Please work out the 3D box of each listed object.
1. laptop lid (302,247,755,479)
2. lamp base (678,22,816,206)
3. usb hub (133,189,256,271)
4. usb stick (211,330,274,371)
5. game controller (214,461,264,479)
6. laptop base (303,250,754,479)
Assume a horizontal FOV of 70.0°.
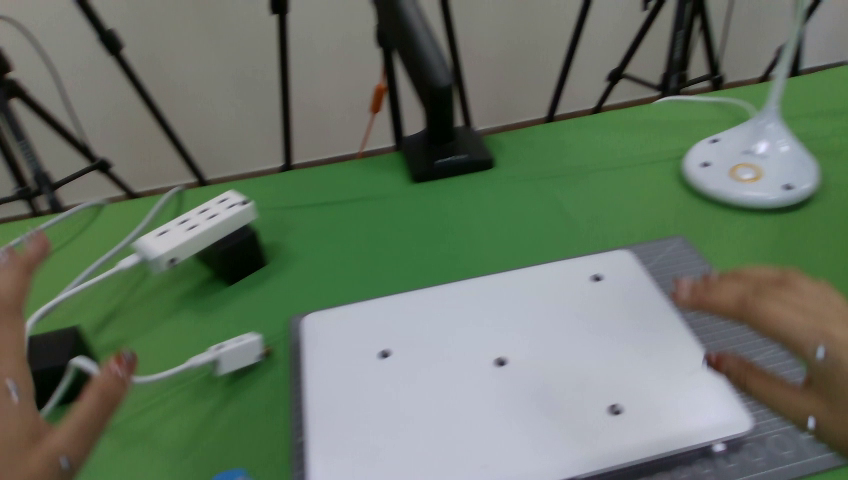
[{"bbox_3d":[0.071,0.110,0.543,0.357,0.013,0.239,-10,40,-5],"label":"laptop lid"},{"bbox_3d":[0.409,-0.160,0.737,0.159,0.182,0.178,13,39,24],"label":"lamp base"},{"bbox_3d":[-0.255,-0.013,0.679,0.049,0.025,0.125,27,49,33],"label":"usb hub"},{"bbox_3d":[-0.174,0.104,0.588,0.021,0.027,0.059,5,12,43],"label":"usb stick"},{"bbox_3d":[-0.183,0.215,0.436,0.155,0.052,0.096,-10,33,-6],"label":"game controller"},{"bbox_3d":[0.072,0.118,0.552,0.355,0.023,0.233,-11,41,-7],"label":"laptop base"}]
